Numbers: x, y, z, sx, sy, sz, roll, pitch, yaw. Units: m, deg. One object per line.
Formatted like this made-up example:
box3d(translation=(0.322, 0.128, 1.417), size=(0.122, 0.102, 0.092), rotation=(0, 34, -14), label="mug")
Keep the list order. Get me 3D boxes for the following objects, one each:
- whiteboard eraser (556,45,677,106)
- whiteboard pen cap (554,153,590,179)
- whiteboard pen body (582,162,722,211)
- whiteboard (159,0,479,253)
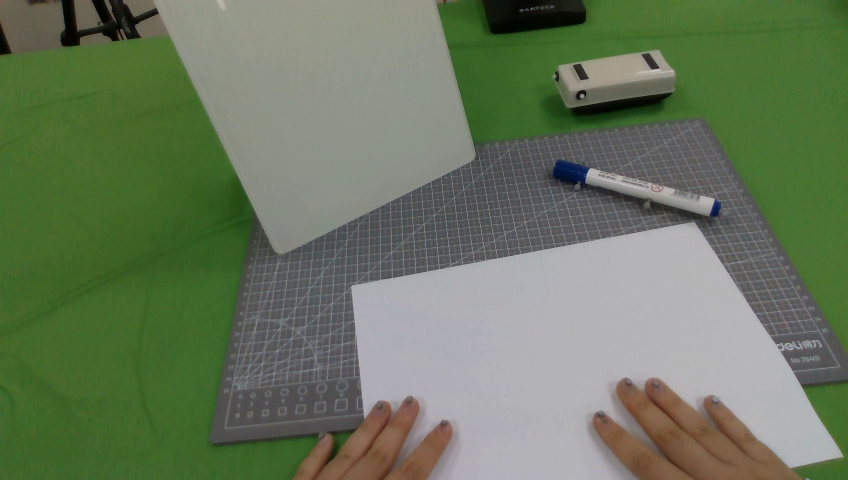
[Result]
box3d(translation=(0.199, -0.170, 0.632), size=(0.113, 0.042, 0.055), rotation=(-8, 50, -1), label="whiteboard eraser")
box3d(translation=(0.139, -0.068, 0.560), size=(0.033, 0.018, 0.018), rotation=(21, 54, 21), label="whiteboard pen cap")
box3d(translation=(0.188, -0.051, 0.536), size=(0.140, 0.017, 0.017), rotation=(19, 53, 23), label="whiteboard pen body")
box3d(translation=(-0.108, -0.185, 0.546), size=(0.217, 0.308, 0.142), rotation=(-28, 30, -16), label="whiteboard")
